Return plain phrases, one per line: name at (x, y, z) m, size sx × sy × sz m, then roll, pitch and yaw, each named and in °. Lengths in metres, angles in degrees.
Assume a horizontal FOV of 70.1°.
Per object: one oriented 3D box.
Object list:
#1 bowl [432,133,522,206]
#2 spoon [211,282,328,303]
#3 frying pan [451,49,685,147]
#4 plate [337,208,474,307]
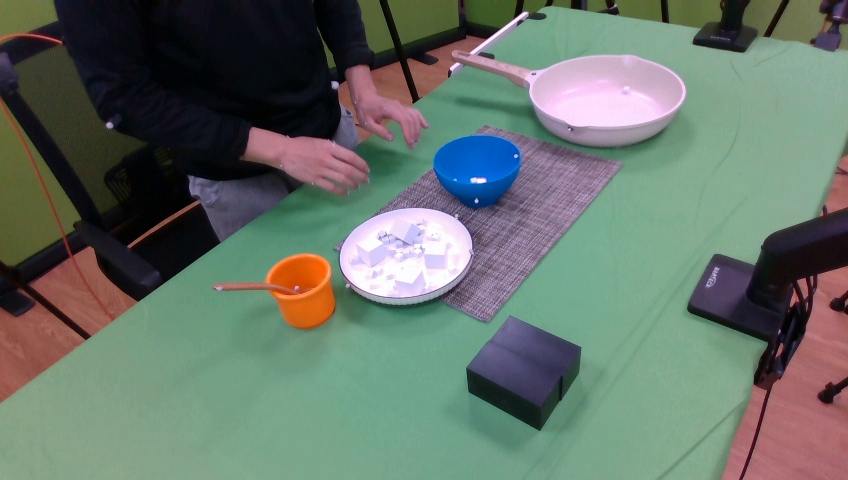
bowl at (0.092, -0.110, 1.034) m, size 0.151 × 0.077 × 0.150 m, roll -4°, pitch 40°, yaw 4°
spoon at (-0.205, 0.067, 0.822) m, size 0.041 × 0.195 × 0.021 m, roll 28°, pitch 96°, yaw 35°
frying pan at (0.269, -0.316, 1.233) m, size 0.485 × 0.103 × 0.307 m, roll 26°, pitch 49°, yaw 21°
plate at (-0.026, 0.028, 0.921) m, size 0.207 × 0.039 × 0.206 m, roll -4°, pitch 41°, yaw 4°
